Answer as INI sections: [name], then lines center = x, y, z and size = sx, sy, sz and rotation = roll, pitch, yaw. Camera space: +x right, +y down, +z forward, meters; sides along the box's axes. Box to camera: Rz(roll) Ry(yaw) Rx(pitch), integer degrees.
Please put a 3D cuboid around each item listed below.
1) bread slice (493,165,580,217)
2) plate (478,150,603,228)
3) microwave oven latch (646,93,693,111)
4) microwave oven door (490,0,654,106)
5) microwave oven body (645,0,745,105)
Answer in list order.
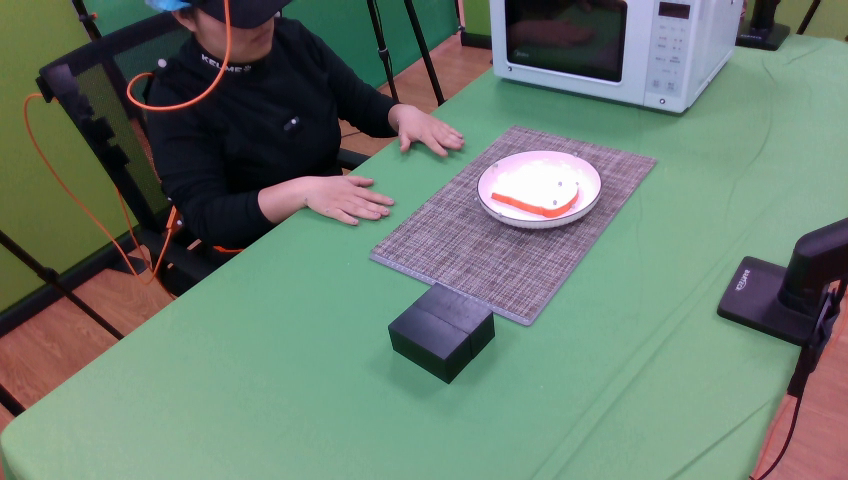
[bread slice]
center = 0.200, -0.084, 1.034
size = 0.130, 0.019, 0.105
rotation = 23, 50, 34
[plate]
center = 0.198, -0.084, 1.030
size = 0.209, 0.038, 0.208
rotation = -5, 40, 5
[microwave oven latch]
center = 0.477, -0.273, 1.177
size = 0.078, 0.029, 0.030
rotation = 22, 50, 33
[microwave oven door]
center = 0.292, -0.420, 1.228
size = 0.353, 0.245, 0.039
rotation = 22, 49, 32
[microwave oven body]
center = 0.416, -0.486, 1.290
size = 0.438, 0.261, 0.327
rotation = 21, 50, 33
